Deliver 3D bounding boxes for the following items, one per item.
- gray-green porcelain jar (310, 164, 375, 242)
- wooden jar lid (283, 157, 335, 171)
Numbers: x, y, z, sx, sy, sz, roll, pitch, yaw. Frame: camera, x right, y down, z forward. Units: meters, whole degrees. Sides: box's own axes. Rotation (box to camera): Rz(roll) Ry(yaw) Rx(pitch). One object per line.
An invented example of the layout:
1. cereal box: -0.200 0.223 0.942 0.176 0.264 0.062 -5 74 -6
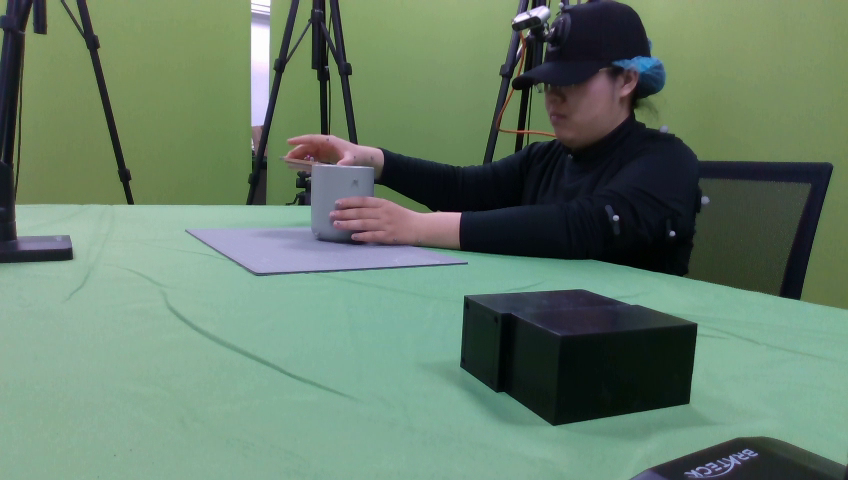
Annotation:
1. gray-green porcelain jar: -0.139 -0.063 1.025 0.106 0.126 0.106 3 8 0
2. wooden jar lid: -0.207 -0.137 1.127 0.108 0.020 0.108 8 6 -1
